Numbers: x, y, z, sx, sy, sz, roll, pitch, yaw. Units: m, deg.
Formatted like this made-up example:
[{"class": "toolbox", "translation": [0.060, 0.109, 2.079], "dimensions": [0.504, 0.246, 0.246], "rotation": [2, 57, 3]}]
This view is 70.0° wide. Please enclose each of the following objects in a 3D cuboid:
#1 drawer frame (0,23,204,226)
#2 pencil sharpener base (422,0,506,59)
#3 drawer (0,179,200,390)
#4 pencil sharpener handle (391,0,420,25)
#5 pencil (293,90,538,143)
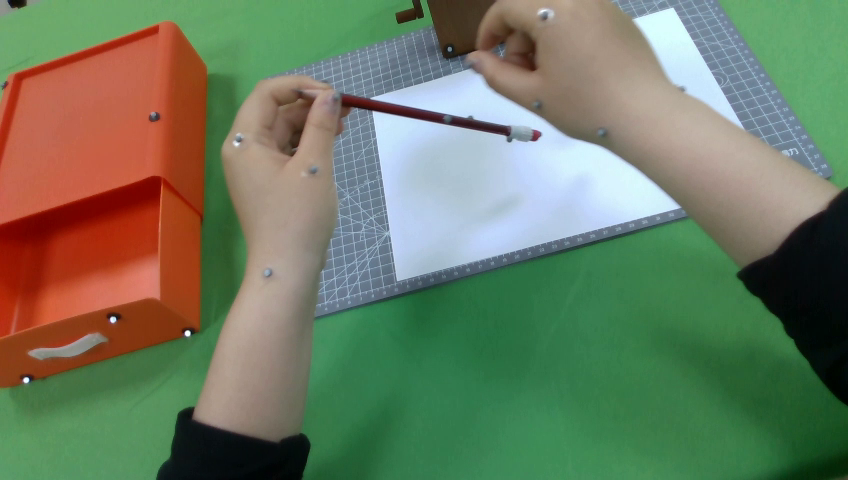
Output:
[{"class": "drawer frame", "translation": [-0.327, -0.091, 0.602], "dimensions": [0.201, 0.083, 0.211], "rotation": [-17, 57, 6]}, {"class": "pencil sharpener base", "translation": [0.029, -0.234, 0.568], "dimensions": [0.076, 0.108, 0.061], "rotation": [-14, 58, 8]}, {"class": "drawer", "translation": [-0.304, 0.007, 0.542], "dimensions": [0.194, 0.074, 0.209], "rotation": [-17, 57, 6]}, {"class": "pencil sharpener handle", "translation": [-0.023, -0.229, 0.566], "dimensions": [0.030, 0.068, 0.035], "rotation": [-14, 63, 8]}, {"class": "pencil", "translation": [0.003, -0.086, 0.423], "dimensions": [0.195, 0.012, 0.012], "rotation": [4, 50, -31]}]
